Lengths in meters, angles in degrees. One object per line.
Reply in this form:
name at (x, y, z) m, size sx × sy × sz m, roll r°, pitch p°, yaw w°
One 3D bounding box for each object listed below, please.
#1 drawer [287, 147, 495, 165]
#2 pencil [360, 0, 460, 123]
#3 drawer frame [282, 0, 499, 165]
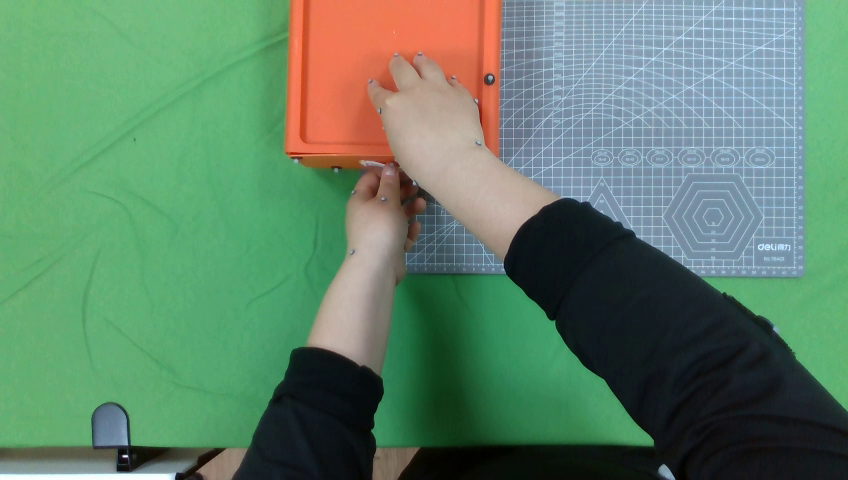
drawer at (-0.028, -0.179, 0.589) m, size 0.194 × 0.073 × 0.211 m, roll 1°, pitch 89°, yaw 4°
pencil at (-0.022, -0.194, 0.611) m, size 0.012 × 0.012 × 0.194 m, roll -38°, pitch 88°, yaw 3°
drawer frame at (-0.029, -0.184, 0.589) m, size 0.201 × 0.083 × 0.213 m, roll 0°, pitch 89°, yaw 5°
